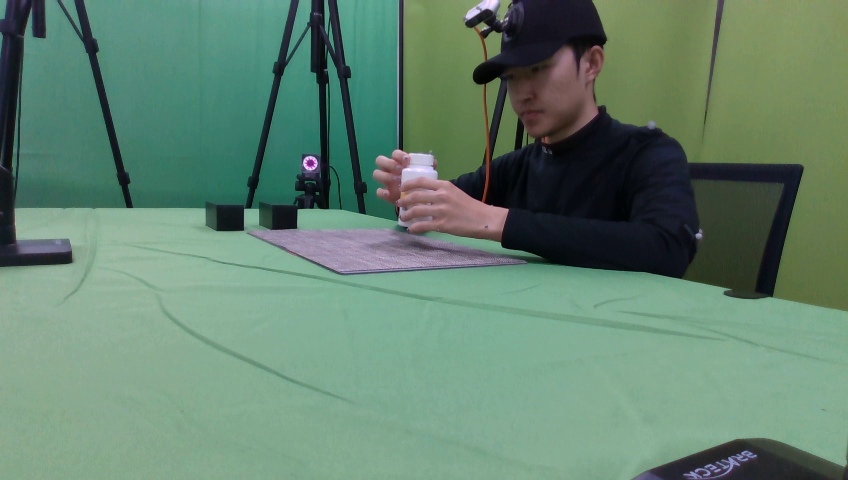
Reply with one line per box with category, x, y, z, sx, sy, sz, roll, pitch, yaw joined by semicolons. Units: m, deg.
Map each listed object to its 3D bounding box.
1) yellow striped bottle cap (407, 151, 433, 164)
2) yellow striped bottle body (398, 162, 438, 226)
yellow striped bottle cap;-0.007;-0.139;1.024;0.044;0.018;0.044;5;7;0
yellow striped bottle body;-0.010;-0.085;1.028;0.063;0.120;0.063;4;4;0
